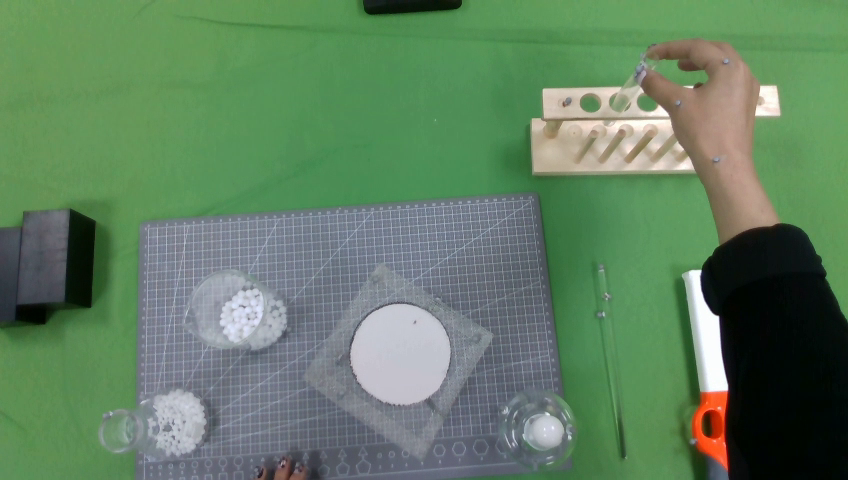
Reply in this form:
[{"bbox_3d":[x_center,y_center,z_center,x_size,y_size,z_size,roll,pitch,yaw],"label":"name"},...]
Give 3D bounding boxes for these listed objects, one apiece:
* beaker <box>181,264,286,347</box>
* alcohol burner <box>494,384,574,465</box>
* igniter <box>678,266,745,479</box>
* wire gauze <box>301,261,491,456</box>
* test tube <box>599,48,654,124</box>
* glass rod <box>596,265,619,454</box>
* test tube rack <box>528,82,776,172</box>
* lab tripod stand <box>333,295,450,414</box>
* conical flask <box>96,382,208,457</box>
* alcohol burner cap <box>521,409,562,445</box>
[{"bbox_3d":[-0.187,0.072,0.612,0.084,0.100,0.073,-20,78,-3],"label":"beaker"},{"bbox_3d":[0.107,0.178,0.581,0.078,0.119,0.077,-1,77,3],"label":"alcohol burner"},{"bbox_3d":[0.298,0.164,0.630,0.057,0.025,0.275,0,78,-11],"label":"igniter"},{"bbox_3d":[-0.023,0.098,0.520,0.125,0.011,0.121,32,81,7],"label":"wire gauze"},{"bbox_3d":[0.196,-0.147,0.597,0.017,0.151,0.017,0,80,3],"label":"test tube"},{"bbox_3d":[0.196,0.125,0.648,0.008,0.008,0.199,-3,80,-1],"label":"glass rod"},{"bbox_3d":[0.241,-0.121,0.661,0.242,0.085,0.066,-1,77,0],"label":"test tube rack"},{"bbox_3d":[-0.025,0.110,0.586,0.148,0.132,0.148,0,79,2],"label":"lab tripod stand"},{"bbox_3d":[-0.262,0.174,0.579,0.075,0.122,0.075,0,77,0],"label":"conical flask"},{"bbox_3d":[0.108,0.168,0.546,0.034,0.048,0.033,1,72,-2],"label":"alcohol burner cap"}]
